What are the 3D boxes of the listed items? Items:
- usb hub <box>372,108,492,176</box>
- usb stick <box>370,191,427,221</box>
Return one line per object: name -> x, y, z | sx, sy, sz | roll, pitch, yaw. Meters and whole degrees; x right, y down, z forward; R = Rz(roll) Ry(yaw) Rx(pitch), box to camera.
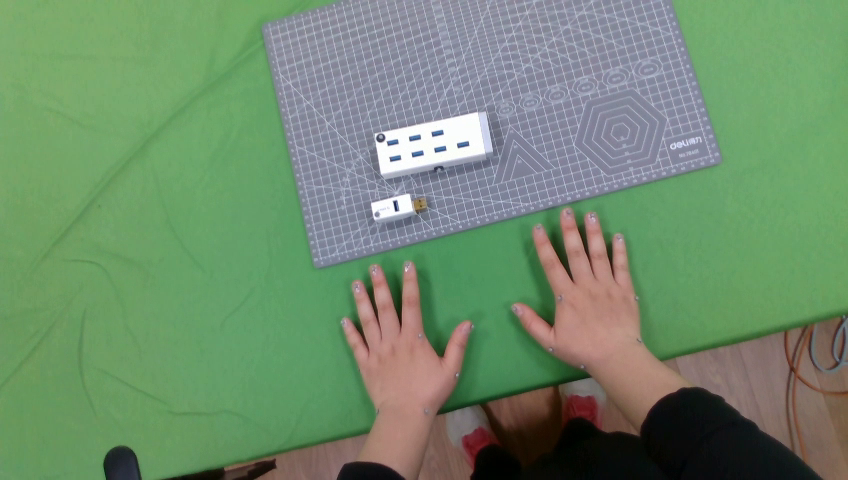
usb hub -> 0.009, -0.107, 0.660 | 0.125, 0.025, 0.049 | -11, 82, 6
usb stick -> -0.027, -0.038, 0.657 | 0.059, 0.027, 0.021 | -13, 82, 4
